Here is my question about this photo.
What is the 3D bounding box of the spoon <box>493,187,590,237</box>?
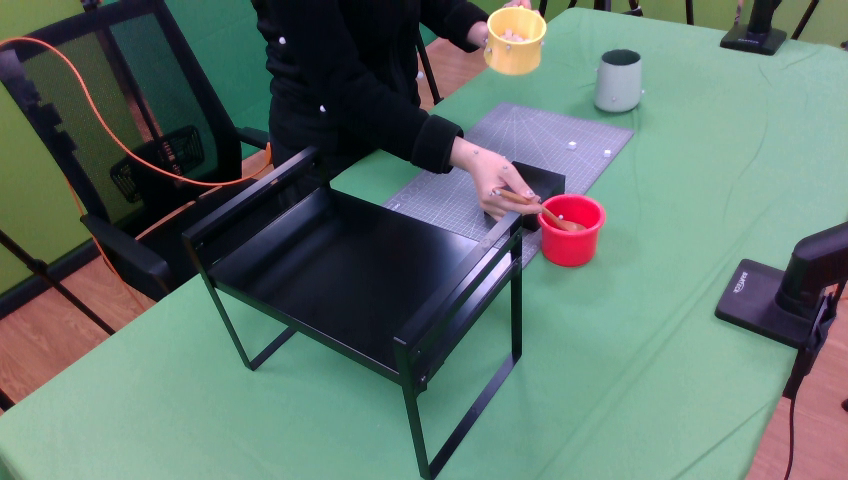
[{"bbox_3d":[0.171,-0.042,0.870,0.195,0.021,0.041,25,24,-34],"label":"spoon"}]

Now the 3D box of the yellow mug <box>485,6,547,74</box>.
[{"bbox_3d":[0.161,-0.357,1.052,0.100,0.064,0.130,10,55,6],"label":"yellow mug"}]

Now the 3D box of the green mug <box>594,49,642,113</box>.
[{"bbox_3d":[0.397,-0.333,1.240,0.092,0.105,0.125,-3,41,7],"label":"green mug"}]
